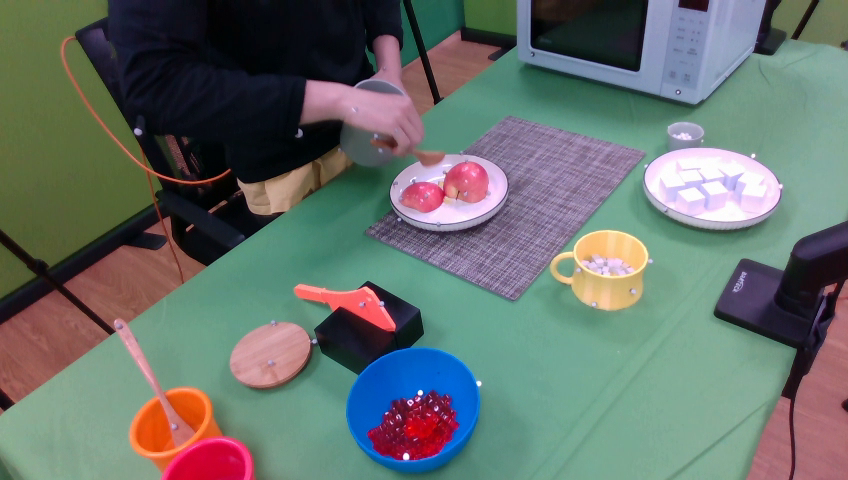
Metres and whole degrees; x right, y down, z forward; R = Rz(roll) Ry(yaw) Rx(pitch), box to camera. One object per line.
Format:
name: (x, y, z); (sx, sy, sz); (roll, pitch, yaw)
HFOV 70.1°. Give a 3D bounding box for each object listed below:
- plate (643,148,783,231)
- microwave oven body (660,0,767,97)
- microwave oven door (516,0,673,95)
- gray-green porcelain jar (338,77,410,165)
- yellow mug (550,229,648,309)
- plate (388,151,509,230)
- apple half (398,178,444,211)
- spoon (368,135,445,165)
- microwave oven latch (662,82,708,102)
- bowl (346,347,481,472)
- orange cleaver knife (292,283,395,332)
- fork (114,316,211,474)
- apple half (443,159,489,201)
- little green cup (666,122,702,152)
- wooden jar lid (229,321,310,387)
plate: (0.464, -0.080, 0.986); (0.207, 0.039, 0.206); (-4, 40, 4)
microwave oven body: (0.473, -0.517, 1.314); (0.438, 0.261, 0.327); (26, 51, 34)
microwave oven door: (0.344, -0.458, 1.256); (0.353, 0.245, 0.039); (26, 51, 33)
gray-green porcelain jar: (-0.090, -0.200, 1.049); (0.106, 0.126, 0.105); (8, 61, -15)
yellow mug: (0.245, 0.040, 0.857); (0.130, 0.064, 0.099); (1, 42, 11)
plate: (0.043, -0.082, 1.043); (0.209, 0.038, 0.208); (-4, 40, 4)
apple half: (-0.004, -0.088, 1.045); (0.081, 0.033, 0.081); (-1, 43, 2)
spoon: (-0.025, -0.138, 0.916); (0.041, 0.195, 0.021); (-32, 69, 28)
microwave oven latch: (0.518, -0.299, 1.203); (0.078, 0.029, 0.030); (29, 53, 36)
bowl: (-0.008, 0.205, 0.691); (0.151, 0.077, 0.150); (-4, 40, 4)
orange cleaver knife: (-0.115, 0.092, 0.835); (0.209, 0.077, 0.012); (1, 32, 48)
fork: (-0.309, 0.179, 0.708); (0.028, 0.018, 0.207); (-30, 89, -24)
apple half: (0.074, -0.111, 1.047); (0.080, 0.053, 0.075); (21, 46, 30)
little green cup: (0.472, -0.183, 1.102); (0.061, 0.039, 0.061); (-5, 41, 5)
wooden jar lid: (-0.207, 0.156, 0.821); (0.108, 0.021, 0.108); (-3, 39, 3)
